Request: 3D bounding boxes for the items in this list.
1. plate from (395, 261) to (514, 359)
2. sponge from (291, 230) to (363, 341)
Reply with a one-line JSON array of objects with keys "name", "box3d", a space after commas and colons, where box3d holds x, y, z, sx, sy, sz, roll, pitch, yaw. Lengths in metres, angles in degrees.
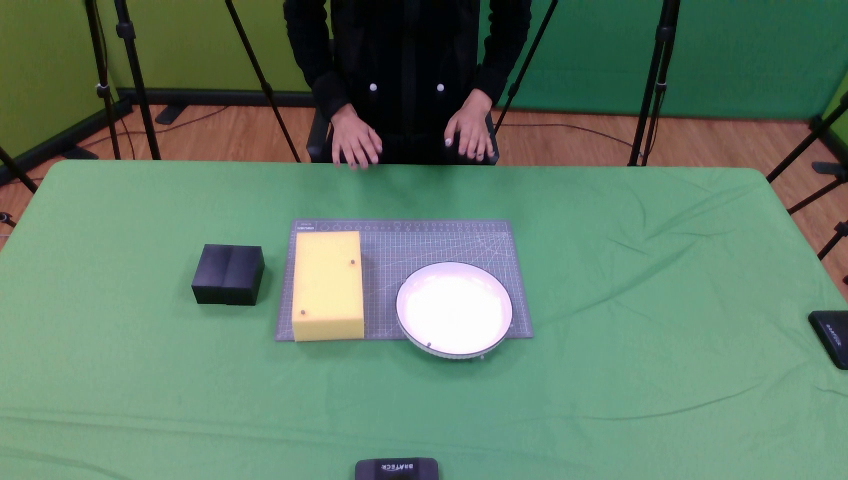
[{"name": "plate", "box3d": [0.052, 0.124, 1.066, 0.209, 0.038, 0.208, 2, 46, -2]}, {"name": "sponge", "box3d": [-0.171, 0.077, 1.081, 0.118, 0.061, 0.205, -3, 47, -6]}]
